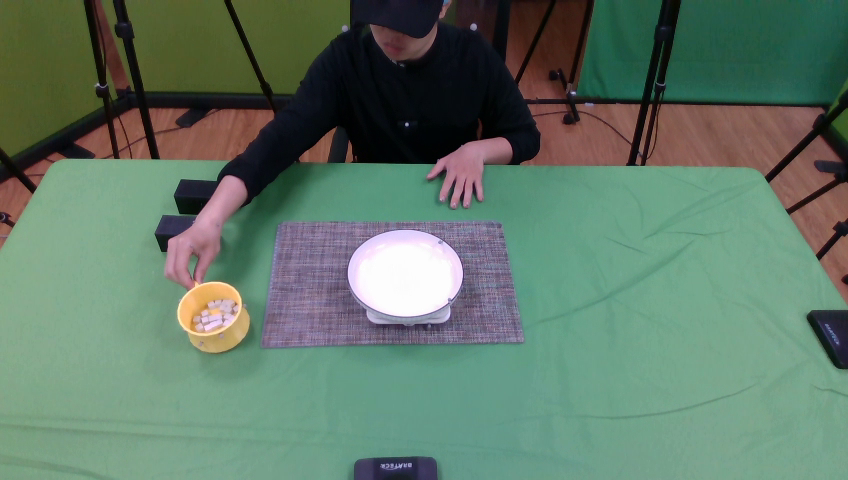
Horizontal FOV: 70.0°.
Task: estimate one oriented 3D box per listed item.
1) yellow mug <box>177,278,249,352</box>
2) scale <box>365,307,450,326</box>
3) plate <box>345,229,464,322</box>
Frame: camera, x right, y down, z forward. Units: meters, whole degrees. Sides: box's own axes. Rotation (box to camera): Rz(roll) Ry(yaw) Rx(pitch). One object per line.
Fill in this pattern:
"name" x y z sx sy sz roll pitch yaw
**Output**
"yellow mug" -0.356 0.115 1.007 0.100 0.064 0.130 -30 61 -22
"scale" -0.032 0.071 1.113 0.149 0.032 0.199 1 46 -4
"plate" -0.034 0.065 1.073 0.209 0.038 0.208 2 46 -2
